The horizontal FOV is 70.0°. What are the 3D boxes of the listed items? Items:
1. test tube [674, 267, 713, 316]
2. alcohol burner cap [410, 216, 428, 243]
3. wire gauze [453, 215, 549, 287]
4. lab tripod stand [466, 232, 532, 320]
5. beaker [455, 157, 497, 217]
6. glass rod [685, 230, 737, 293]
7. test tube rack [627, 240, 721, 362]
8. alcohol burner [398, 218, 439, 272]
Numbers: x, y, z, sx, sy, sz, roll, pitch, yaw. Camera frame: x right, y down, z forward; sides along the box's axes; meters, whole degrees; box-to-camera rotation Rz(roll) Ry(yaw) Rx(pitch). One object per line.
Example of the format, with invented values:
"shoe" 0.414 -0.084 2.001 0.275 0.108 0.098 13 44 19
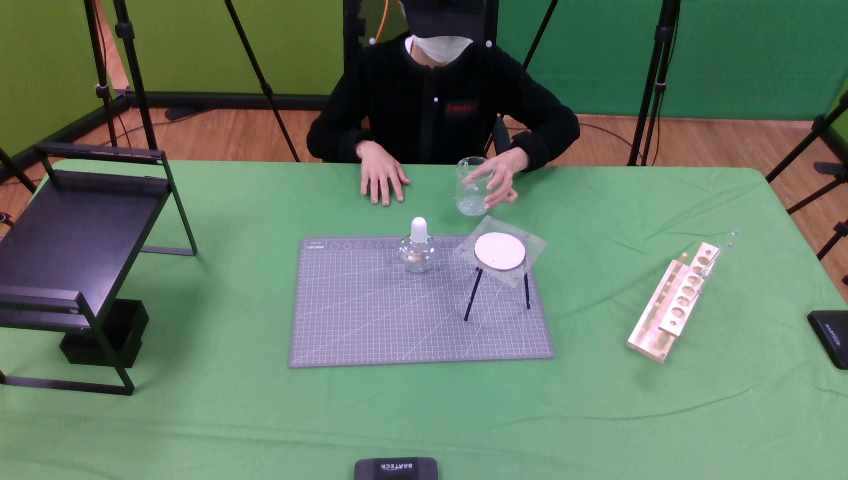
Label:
"test tube" 0.445 0.098 1.017 0.017 0.151 0.017 4 48 -4
"alcohol burner cap" -0.009 -0.022 1.099 0.034 0.048 0.033 2 41 -1
"wire gauze" 0.129 0.012 1.017 0.124 0.011 0.121 28 50 23
"lab tripod stand" 0.125 0.059 1.065 0.148 0.132 0.147 1 45 0
"beaker" 0.101 -0.103 1.194 0.084 0.101 0.073 -13 47 -13
"glass rod" 0.495 0.042 1.051 0.008 0.200 0.008 2 55 -2
"test tube rack" 0.452 0.098 1.087 0.066 0.085 0.242 28 51 22
"alcohol burner" -0.010 0.004 1.123 0.078 0.120 0.077 1 47 0
